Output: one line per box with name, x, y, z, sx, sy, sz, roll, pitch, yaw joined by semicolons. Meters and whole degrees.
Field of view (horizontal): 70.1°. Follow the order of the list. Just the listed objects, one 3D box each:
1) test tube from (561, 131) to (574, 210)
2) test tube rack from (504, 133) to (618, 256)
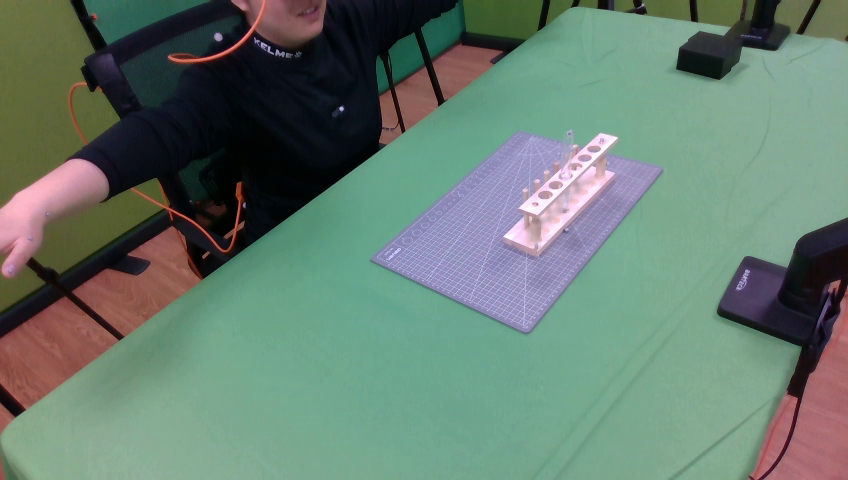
test tube;0.220;-0.103;0.933;0.017;0.151;0.017;-5;45;6
test tube rack;0.225;-0.083;0.984;0.066;0.085;0.243;25;51;34
